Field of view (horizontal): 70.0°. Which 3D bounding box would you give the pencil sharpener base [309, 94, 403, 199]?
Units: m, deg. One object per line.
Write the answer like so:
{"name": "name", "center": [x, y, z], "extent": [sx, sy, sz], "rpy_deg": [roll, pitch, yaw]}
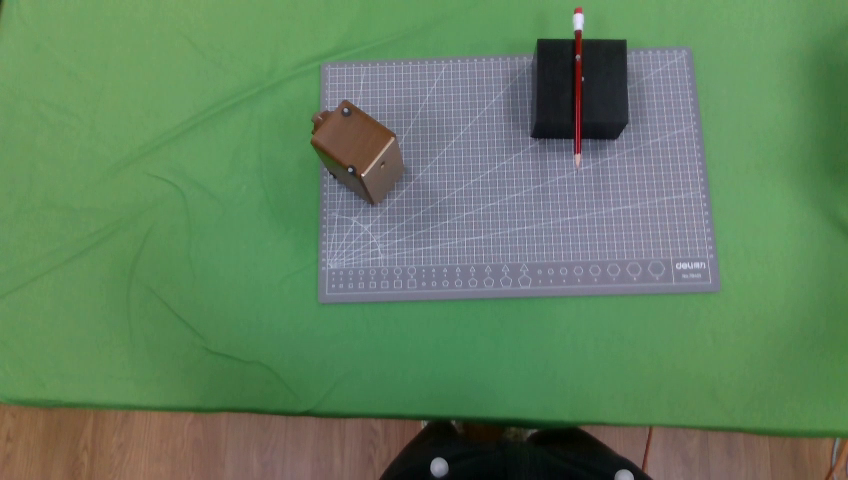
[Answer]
{"name": "pencil sharpener base", "center": [-0.074, -0.100, 0.666], "extent": [0.076, 0.107, 0.061], "rpy_deg": [37, 82, 10]}

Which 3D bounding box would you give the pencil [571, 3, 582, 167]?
{"name": "pencil", "center": [0.169, -0.174, 0.670], "extent": [0.012, 0.012, 0.193], "rpy_deg": [2, 79, 3]}

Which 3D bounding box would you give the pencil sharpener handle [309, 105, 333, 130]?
{"name": "pencil sharpener handle", "center": [-0.116, -0.131, 0.661], "extent": [0.030, 0.068, 0.036], "rpy_deg": [37, 75, 10]}
